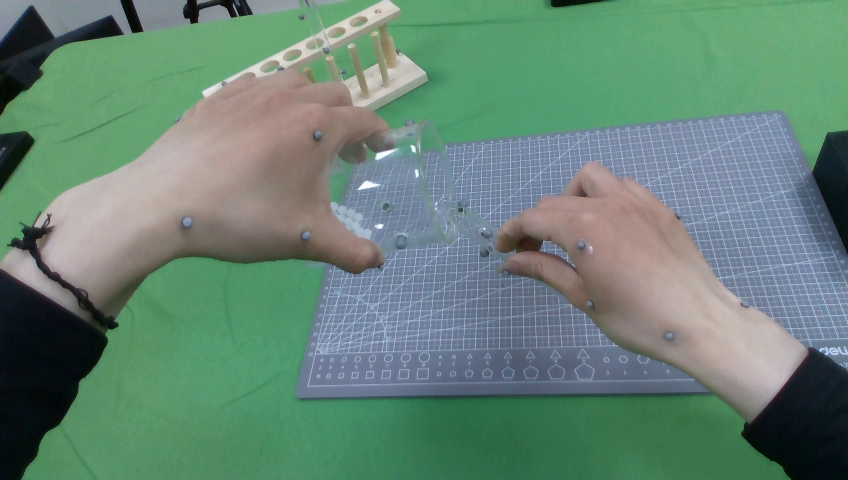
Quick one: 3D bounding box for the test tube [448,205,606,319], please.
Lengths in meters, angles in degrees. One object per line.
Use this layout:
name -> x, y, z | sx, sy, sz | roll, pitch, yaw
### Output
test tube -> 0.075, 0.019, 0.417 | 0.017, 0.151, 0.017 | -39, 33, 32

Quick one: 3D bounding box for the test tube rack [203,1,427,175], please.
test tube rack -> -0.122, -0.181, 0.712 | 0.242, 0.086, 0.066 | -31, 51, -12

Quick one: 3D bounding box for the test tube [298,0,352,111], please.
test tube -> -0.108, -0.206, 0.670 | 0.017, 0.152, 0.017 | -8, 49, 9

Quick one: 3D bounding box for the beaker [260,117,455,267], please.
beaker -> -0.037, -0.024, 0.363 | 0.100, 0.084, 0.073 | -10, 70, 14
